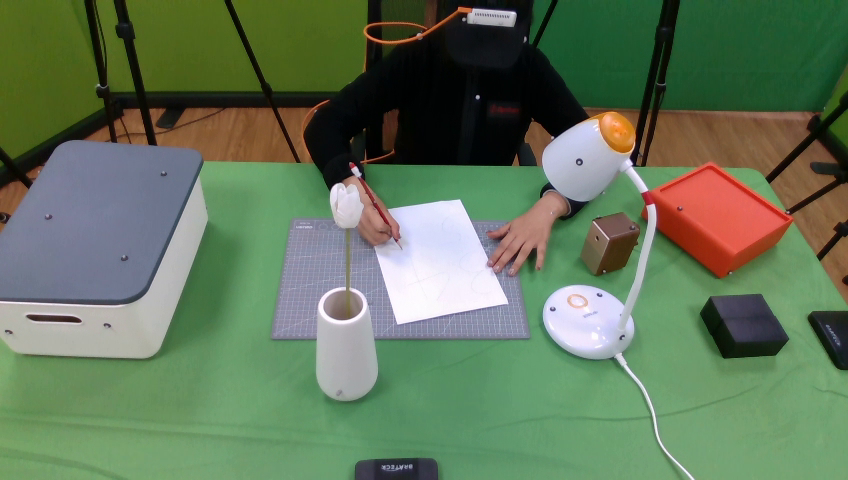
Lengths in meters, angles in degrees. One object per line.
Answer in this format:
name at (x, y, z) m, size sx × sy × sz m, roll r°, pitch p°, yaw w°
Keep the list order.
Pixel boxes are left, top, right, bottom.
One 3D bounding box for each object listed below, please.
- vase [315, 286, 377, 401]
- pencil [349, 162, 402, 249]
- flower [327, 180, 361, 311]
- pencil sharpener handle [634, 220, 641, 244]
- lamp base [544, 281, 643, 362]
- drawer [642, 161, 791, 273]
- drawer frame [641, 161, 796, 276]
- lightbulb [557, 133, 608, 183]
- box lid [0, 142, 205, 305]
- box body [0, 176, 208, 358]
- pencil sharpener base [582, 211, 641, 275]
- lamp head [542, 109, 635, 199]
vase at (-0.119, 0.159, 0.911) m, size 0.098 × 0.201 × 0.097 m, roll 2°, pitch 47°, yaw -2°
pencil at (-0.092, -0.065, 1.168) m, size 0.012 × 0.012 × 0.194 m, roll -38°, pitch 103°, yaw -33°
flower at (-0.110, 0.087, 0.867) m, size 0.044 × 0.363 × 0.038 m, roll 22°, pitch 33°, yaw 36°
pencil sharpener handle at (0.405, -0.015, 1.162) m, size 0.031 × 0.068 × 0.035 m, roll -15°, pitch 45°, yaw -18°
lamp base at (0.303, 0.095, 1.014) m, size 0.161 × 0.181 × 0.178 m, roll -24°, pitch 54°, yaw -24°
drawer at (0.596, -0.051, 1.246) m, size 0.194 × 0.073 × 0.210 m, roll -23°, pitch 52°, yaw -25°
drawer frame at (0.599, -0.051, 1.244) m, size 0.202 × 0.083 × 0.212 m, roll -24°, pitch 53°, yaw -25°
lightbulb at (0.243, -0.127, 0.917) m, size 0.060 × 0.108 × 0.059 m, roll 6°, pitch 67°, yaw -14°
box lid at (-0.534, -0.043, 0.996) m, size 0.263 × 0.015 × 0.369 m, roll 3°, pitch 45°, yaw -3°
box body at (-0.546, 0.017, 1.045) m, size 0.254 × 0.161 × 0.361 m, roll 2°, pitch 46°, yaw -2°
pencil sharpener base at (0.357, 0.005, 1.156) m, size 0.077 × 0.107 × 0.061 m, roll -15°, pitch 48°, yaw -18°
lamp head at (0.253, -0.131, 0.893) m, size 0.113 × 0.123 × 0.112 m, roll 10°, pitch 66°, yaw -24°
